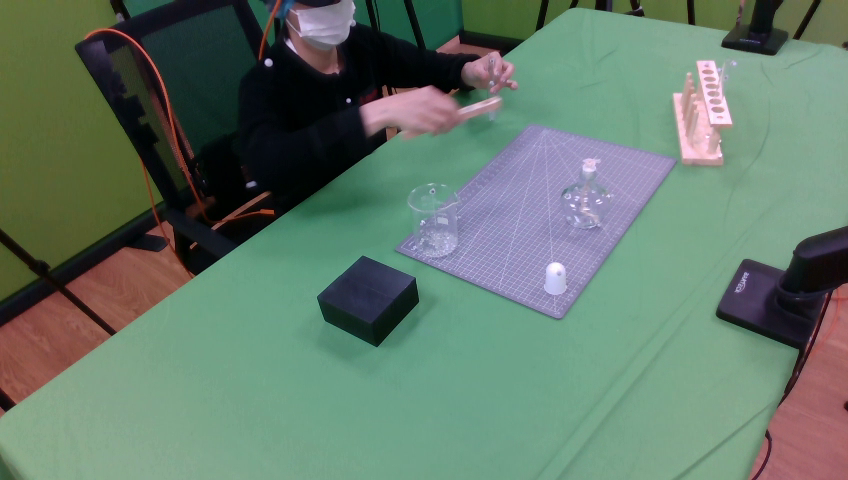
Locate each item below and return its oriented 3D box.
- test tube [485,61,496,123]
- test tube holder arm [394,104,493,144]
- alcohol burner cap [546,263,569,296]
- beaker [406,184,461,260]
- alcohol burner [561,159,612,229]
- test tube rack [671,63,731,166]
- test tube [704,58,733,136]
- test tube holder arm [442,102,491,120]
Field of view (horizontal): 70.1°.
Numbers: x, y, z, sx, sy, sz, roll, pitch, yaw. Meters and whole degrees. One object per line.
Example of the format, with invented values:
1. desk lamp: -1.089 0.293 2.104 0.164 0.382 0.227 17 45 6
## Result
1. test tube: 0.130 -0.286 1.183 0.017 0.151 0.017 -4 54 6
2. test tube holder arm: 0.034 -0.194 1.009 0.179 0.015 0.013 -21 38 -12
3. alcohol burner cap: 0.191 0.053 0.862 0.034 0.048 0.033 -5 40 4
4. beaker: 0.019 -0.026 0.939 0.084 0.101 0.074 1 41 9
5. alcohol burner: 0.257 -0.077 0.951 0.078 0.119 0.077 -3 40 3
6. test tube rack: 0.513 -0.240 1.132 0.066 0.085 0.242 4 41 14
7. test tube: 0.516 -0.247 1.062 0.017 0.151 0.017 -3 43 4
8. test tube holder arm: 0.073 -0.213 1.023 0.088 0.015 0.010 -21 38 -12
